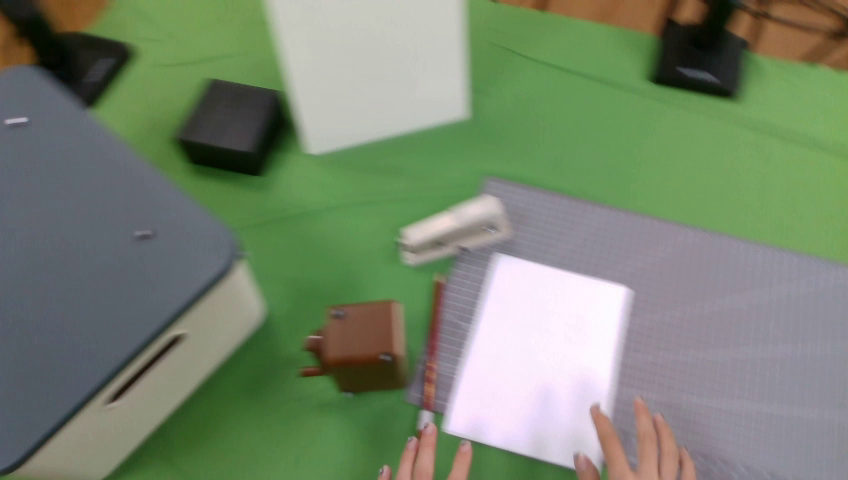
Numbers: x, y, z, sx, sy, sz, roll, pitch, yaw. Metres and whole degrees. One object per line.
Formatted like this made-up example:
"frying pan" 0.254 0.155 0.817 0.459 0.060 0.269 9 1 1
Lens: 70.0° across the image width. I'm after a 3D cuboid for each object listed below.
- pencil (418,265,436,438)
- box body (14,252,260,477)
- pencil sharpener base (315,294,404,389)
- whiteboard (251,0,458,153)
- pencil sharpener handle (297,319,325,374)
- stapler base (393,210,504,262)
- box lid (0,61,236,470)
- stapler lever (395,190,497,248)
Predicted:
"pencil" 0.005 0.113 0.647 0.012 0.012 0.192 3 62 3
"box body" -0.378 0.029 0.611 0.362 0.161 0.253 35 68 17
"pencil sharpener base" -0.061 0.104 0.599 0.077 0.108 0.061 -5 62 -1
"whiteboard" -0.093 -0.295 0.735 0.217 0.308 0.142 -15 43 -7
"pencil sharpener handle" -0.112 0.107 0.583 0.030 0.068 0.035 -5 41 -1
"stapler base" 0.029 -0.013 0.707 0.130 0.024 0.041 -17 59 -5
"box lid" -0.381 -0.008 0.545 0.369 0.015 0.262 35 67 16
"stapler lever" 0.025 -0.025 0.685 0.118 0.040 0.026 -17 59 -5
